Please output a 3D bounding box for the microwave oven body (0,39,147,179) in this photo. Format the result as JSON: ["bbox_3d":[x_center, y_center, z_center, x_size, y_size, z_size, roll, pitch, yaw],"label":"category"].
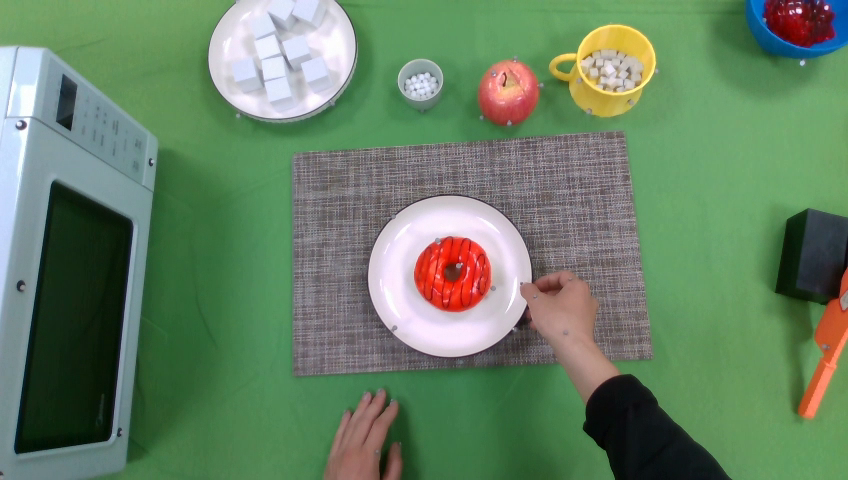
[{"bbox_3d":[-0.531,0.039,0.683,0.326,0.261,0.439,-1,78,3],"label":"microwave oven body"}]

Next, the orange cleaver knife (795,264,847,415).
[{"bbox_3d":[0.474,0.103,0.703,0.012,0.077,0.212,15,111,9],"label":"orange cleaver knife"}]

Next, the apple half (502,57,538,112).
[{"bbox_3d":[0.131,-0.209,0.799,0.033,0.081,0.081,-31,77,1],"label":"apple half"}]

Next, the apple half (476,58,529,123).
[{"bbox_3d":[0.097,-0.189,0.798,0.053,0.075,0.080,-30,81,1],"label":"apple half"}]

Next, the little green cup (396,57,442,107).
[{"bbox_3d":[-0.005,-0.213,0.826,0.061,0.039,0.061,-1,77,4],"label":"little green cup"}]

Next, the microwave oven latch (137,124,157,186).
[{"bbox_3d":[-0.376,-0.113,0.806,0.030,0.029,0.079,1,78,3],"label":"microwave oven latch"}]

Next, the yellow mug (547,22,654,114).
[{"bbox_3d":[0.229,-0.227,0.802,0.131,0.064,0.099,7,78,6],"label":"yellow mug"}]

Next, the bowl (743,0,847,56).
[{"bbox_3d":[0.487,-0.300,0.797,0.151,0.077,0.150,-1,78,4],"label":"bowl"}]

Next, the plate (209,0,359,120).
[{"bbox_3d":[-0.192,-0.260,0.847,0.207,0.039,0.206,-1,77,3],"label":"plate"}]

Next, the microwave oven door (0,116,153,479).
[{"bbox_3d":[-0.386,0.078,0.661,0.039,0.245,0.354,-1,77,4],"label":"microwave oven door"}]

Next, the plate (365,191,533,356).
[{"bbox_3d":[0.031,0.042,0.764,0.209,0.038,0.208,-1,78,3],"label":"plate"}]

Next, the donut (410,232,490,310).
[{"bbox_3d":[0.033,0.039,0.753,0.099,0.048,0.098,-1,79,4],"label":"donut"}]
